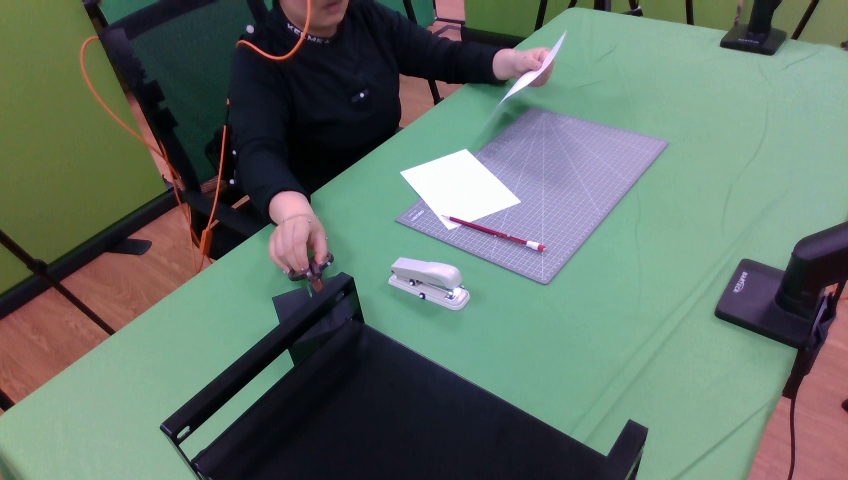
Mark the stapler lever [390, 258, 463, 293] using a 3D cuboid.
[{"bbox_3d":[0.002,0.046,0.881,0.117,0.040,0.027,17,44,29],"label":"stapler lever"}]

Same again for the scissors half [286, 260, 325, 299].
[{"bbox_3d":[-0.167,0.059,0.872,0.040,0.013,0.174,-23,20,-19],"label":"scissors half"}]

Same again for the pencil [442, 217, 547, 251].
[{"bbox_3d":[0.110,-0.012,0.979,0.192,0.012,0.012,18,46,30],"label":"pencil"}]

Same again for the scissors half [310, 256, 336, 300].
[{"bbox_3d":[-0.148,0.053,0.876,0.040,0.013,0.174,-12,18,-4],"label":"scissors half"}]

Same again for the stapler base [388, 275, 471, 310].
[{"bbox_3d":[0.007,0.066,0.897,0.129,0.024,0.041,17,43,29],"label":"stapler base"}]
